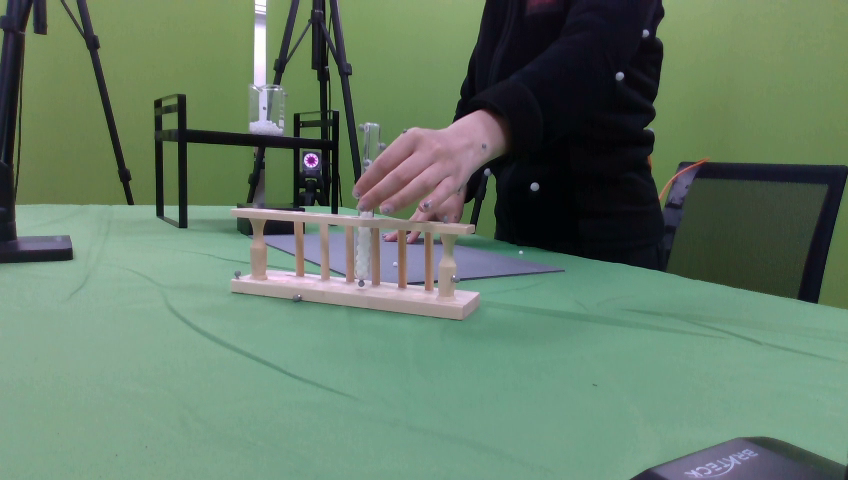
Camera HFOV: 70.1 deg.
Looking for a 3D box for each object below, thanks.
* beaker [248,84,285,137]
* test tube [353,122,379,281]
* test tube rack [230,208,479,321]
[{"bbox_3d":[-0.321,-0.261,1.225,0.074,0.100,0.084,3,8,3],"label":"beaker"},{"bbox_3d":[-0.055,-0.036,0.574,0.017,0.150,0.017,5,5,0],"label":"test tube"},{"bbox_3d":[-0.069,0.018,0.598,0.242,0.085,0.067,5,7,18],"label":"test tube rack"}]
